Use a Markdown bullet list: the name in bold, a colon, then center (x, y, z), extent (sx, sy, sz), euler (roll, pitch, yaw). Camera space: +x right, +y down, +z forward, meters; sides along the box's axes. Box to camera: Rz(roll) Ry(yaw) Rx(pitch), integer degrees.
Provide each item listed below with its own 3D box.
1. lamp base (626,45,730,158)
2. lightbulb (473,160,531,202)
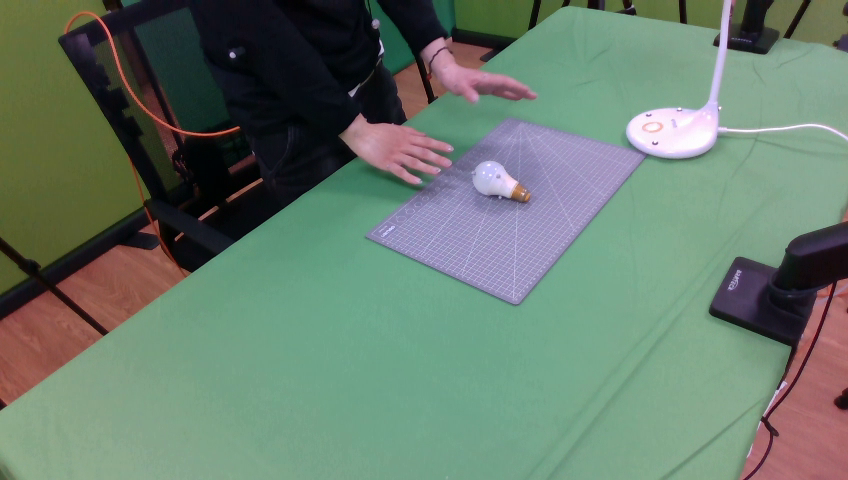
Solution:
- **lamp base**: center (0.467, -0.262, 1.085), extent (0.179, 0.181, 0.159), euler (-5, 41, -1)
- **lightbulb**: center (0.134, -0.097, 1.038), extent (0.107, 0.059, 0.059), euler (29, 50, 15)
